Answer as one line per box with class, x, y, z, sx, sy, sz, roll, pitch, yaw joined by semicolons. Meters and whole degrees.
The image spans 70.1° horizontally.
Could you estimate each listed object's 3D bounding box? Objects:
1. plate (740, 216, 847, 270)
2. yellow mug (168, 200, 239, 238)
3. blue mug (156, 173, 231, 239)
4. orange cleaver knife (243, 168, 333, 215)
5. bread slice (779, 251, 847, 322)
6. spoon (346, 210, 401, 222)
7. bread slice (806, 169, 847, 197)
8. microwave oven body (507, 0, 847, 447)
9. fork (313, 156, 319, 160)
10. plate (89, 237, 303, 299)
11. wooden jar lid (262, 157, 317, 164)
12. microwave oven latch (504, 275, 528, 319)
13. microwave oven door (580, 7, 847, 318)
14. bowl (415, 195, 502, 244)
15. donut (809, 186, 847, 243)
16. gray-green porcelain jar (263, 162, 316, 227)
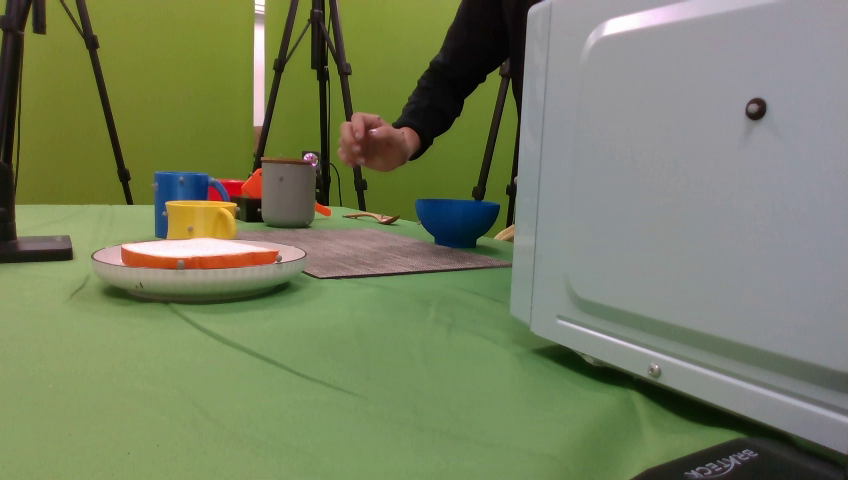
plate;0.358;0.001;0.464;0.209;0.038;0.209;1;4;0
yellow mug;-0.319;-0.023;0.904;0.130;0.064;0.100;9;11;36
blue mug;-0.381;-0.057;1.004;0.117;0.106;0.082;1;8;-12
orange cleaver knife;-0.300;-0.089;1.352;0.212;0.077;0.012;29;-9;-34
bread slice;0.370;0.026;0.479;0.132;0.019;0.104;-25;10;-7
spoon;-0.121;-0.060;1.400;0.042;0.021;0.192;-26;24;-38
bread slice;0.365;-0.051;0.454;0.135;0.018;0.106;-10;1;-24
microwave oven body;0.331;-0.042;0.425;0.444;0.260;0.324;-2;8;-31
fork;-0.331;-0.144;1.506;0.207;0.018;0.028;-42;-18;22
plate;-0.233;0.029;0.637;0.208;0.039;0.207;2;7;0
wooden jar lid;-0.269;-0.154;1.208;0.108;0.020;0.108;3;4;0
microwave oven latch;0.100;0.041;0.470;0.079;0.029;0.030;-1;7;-27
microwave oven door;0.294;-0.067;0.570;0.358;0.243;0.039;-3;8;-31
bowl;0.059;-0.035;1.049;0.151;0.077;0.151;2;7;0
donut;0.351;-0.023;0.463;0.099;0.048;0.099;-10;5;1
gray-green porcelain jar;-0.271;-0.092;1.217;0.106;0.126;0.106;2;7;0
